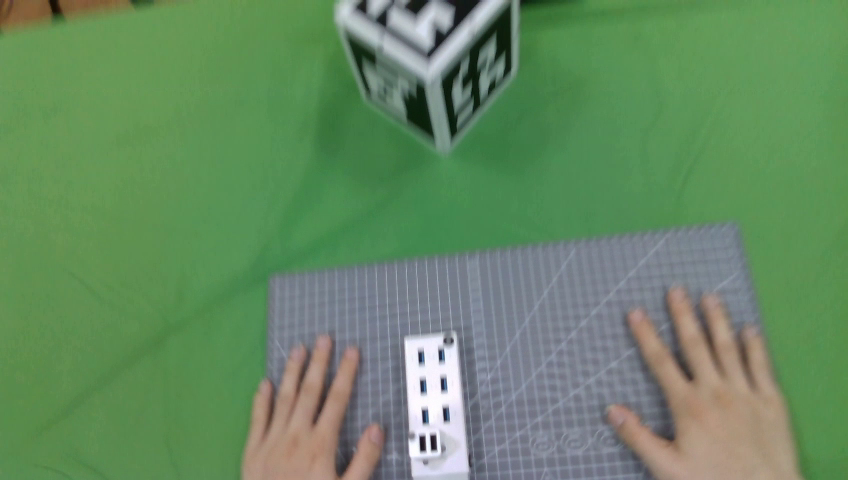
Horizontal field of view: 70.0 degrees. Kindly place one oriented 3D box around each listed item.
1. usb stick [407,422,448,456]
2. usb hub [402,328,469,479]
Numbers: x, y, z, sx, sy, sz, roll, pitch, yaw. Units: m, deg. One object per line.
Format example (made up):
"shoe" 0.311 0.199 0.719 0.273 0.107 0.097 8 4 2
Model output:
"usb stick" 0.004 0.159 0.480 0.027 0.059 0.021 -7 66 4
"usb hub" 0.010 0.140 0.518 0.049 0.025 0.124 -6 68 5
